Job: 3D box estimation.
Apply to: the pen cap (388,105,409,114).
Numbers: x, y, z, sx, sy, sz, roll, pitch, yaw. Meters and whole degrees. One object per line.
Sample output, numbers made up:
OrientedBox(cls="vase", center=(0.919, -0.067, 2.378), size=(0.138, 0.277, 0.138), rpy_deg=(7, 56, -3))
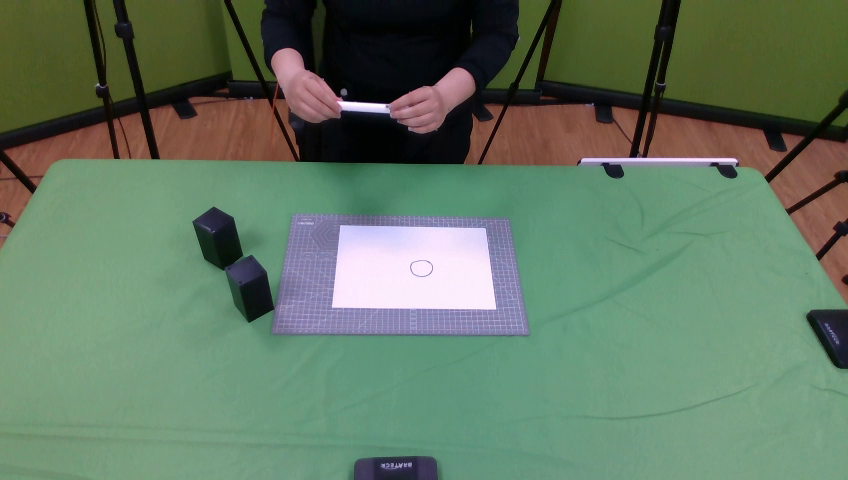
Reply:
OrientedBox(cls="pen cap", center=(-0.046, -0.240, 1.109), size=(0.038, 0.017, 0.017), rpy_deg=(2, 45, 8))

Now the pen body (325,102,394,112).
OrientedBox(cls="pen body", center=(-0.108, -0.244, 1.111), size=(0.144, 0.017, 0.017), rpy_deg=(1, 45, 3))
